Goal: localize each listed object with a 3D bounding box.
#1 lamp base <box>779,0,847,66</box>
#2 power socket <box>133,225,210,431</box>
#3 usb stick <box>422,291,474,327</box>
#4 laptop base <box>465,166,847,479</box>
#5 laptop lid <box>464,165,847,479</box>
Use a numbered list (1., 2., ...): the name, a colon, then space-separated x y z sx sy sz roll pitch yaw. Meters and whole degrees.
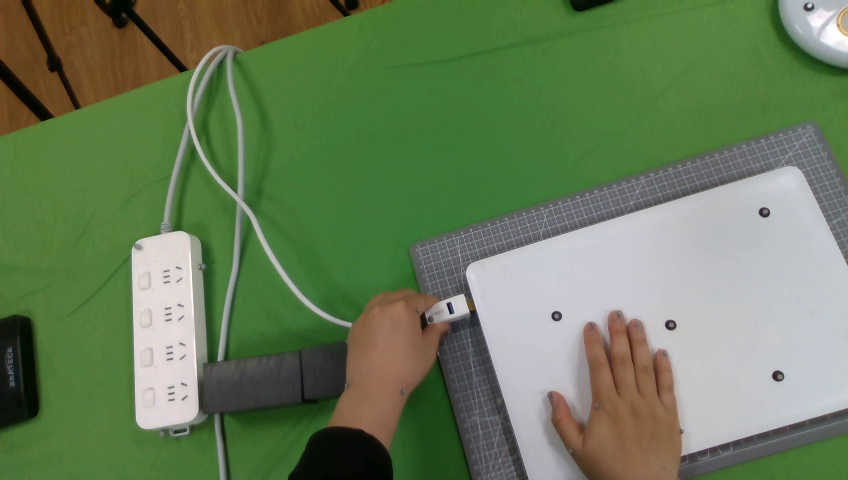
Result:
1. lamp base: 0.462 -0.291 0.583 0.160 0.181 0.178 16 75 12
2. power socket: -0.275 0.090 0.659 0.072 0.033 0.225 -10 73 5
3. usb stick: 0.030 0.068 0.617 0.059 0.027 0.021 -18 68 -3
4. laptop base: 0.238 0.081 0.598 0.354 0.023 0.234 -17 77 3
5. laptop lid: 0.237 0.081 0.587 0.356 0.013 0.240 -16 76 4
